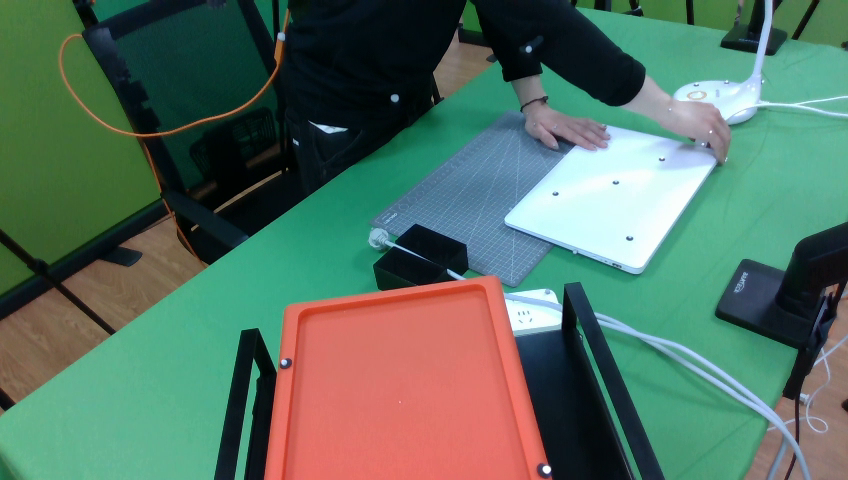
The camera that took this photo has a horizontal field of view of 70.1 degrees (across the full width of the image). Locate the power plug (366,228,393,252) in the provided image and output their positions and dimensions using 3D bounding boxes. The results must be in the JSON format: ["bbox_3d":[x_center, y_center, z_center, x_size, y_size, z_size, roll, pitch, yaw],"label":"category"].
[{"bbox_3d":[-0.067,0.009,0.954,0.035,0.053,0.072,-34,50,1],"label":"power plug"}]

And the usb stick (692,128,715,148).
[{"bbox_3d":[0.501,-0.176,1.094,0.021,0.027,0.059,34,59,30],"label":"usb stick"}]

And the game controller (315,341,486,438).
[{"bbox_3d":[-0.021,0.120,0.534,0.155,0.052,0.096,-3,37,0],"label":"game controller"}]

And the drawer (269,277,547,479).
[{"bbox_3d":[-0.018,0.137,0.493,0.195,0.073,0.210,-7,41,-1],"label":"drawer"}]

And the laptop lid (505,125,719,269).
[{"bbox_3d":[0.323,-0.093,1.021,0.240,0.013,0.358,23,49,33],"label":"laptop lid"}]

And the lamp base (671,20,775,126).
[{"bbox_3d":[0.582,-0.332,1.153,0.179,0.181,0.160,2,42,7],"label":"lamp base"}]

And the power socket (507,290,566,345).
[{"bbox_3d":[0.082,0.112,0.822,0.227,0.033,0.072,-7,40,0],"label":"power socket"}]

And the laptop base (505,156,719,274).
[{"bbox_3d":[0.326,-0.083,1.028,0.233,0.023,0.355,21,48,32],"label":"laptop base"}]

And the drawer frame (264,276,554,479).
[{"bbox_3d":[-0.016,0.137,0.490,0.202,0.083,0.212,-8,41,-2],"label":"drawer frame"}]
